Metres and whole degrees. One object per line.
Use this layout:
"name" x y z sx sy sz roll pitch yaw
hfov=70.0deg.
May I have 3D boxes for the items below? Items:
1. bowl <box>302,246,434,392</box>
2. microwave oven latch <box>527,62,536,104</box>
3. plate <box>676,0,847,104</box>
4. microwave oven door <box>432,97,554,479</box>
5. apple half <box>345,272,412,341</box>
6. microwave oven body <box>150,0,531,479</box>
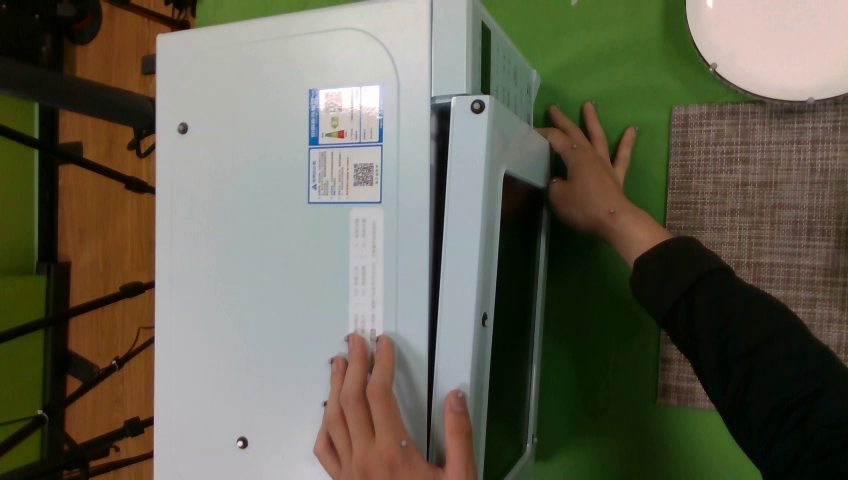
"bowl" -0.046 0.076 0.642 0.150 0.077 0.151 5 101 28
"microwave oven latch" 0.099 -0.147 0.645 0.030 0.029 0.079 13 95 21
"plate" 0.346 -0.228 0.563 0.207 0.039 0.207 0 90 22
"microwave oven door" 0.067 0.073 0.548 0.039 0.245 0.355 4 91 23
"apple half" -0.051 0.075 0.632 0.081 0.033 0.081 5 106 19
"microwave oven body" -0.074 0.029 0.612 0.324 0.261 0.441 1 91 22
